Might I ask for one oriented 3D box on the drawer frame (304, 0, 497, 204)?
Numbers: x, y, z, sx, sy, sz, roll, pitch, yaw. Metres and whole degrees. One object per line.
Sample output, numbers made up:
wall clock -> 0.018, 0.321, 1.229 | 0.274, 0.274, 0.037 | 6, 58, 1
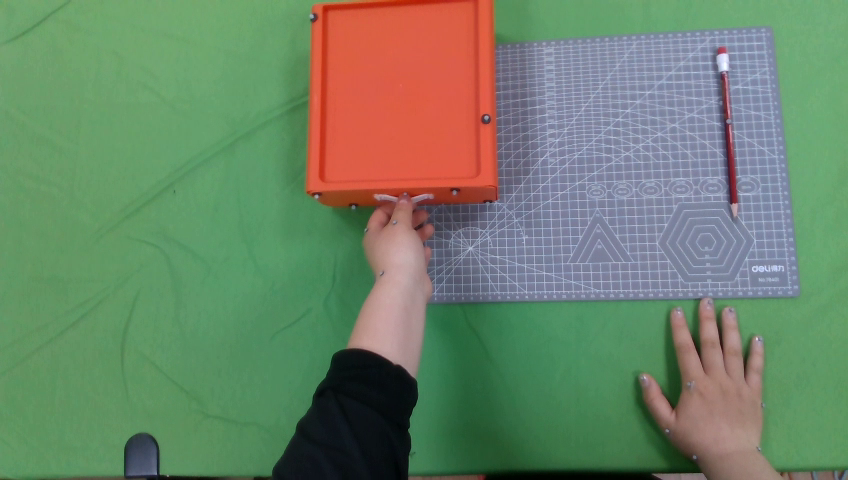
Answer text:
drawer frame -> -0.023, -0.150, 0.662 | 0.201, 0.083, 0.212 | -2, 81, 7

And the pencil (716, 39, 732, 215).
pencil -> 0.326, -0.123, 0.655 | 0.012, 0.012, 0.193 | -1, 84, 7

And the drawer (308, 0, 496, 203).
drawer -> -0.021, -0.148, 0.663 | 0.194, 0.073, 0.211 | -2, 80, 7
